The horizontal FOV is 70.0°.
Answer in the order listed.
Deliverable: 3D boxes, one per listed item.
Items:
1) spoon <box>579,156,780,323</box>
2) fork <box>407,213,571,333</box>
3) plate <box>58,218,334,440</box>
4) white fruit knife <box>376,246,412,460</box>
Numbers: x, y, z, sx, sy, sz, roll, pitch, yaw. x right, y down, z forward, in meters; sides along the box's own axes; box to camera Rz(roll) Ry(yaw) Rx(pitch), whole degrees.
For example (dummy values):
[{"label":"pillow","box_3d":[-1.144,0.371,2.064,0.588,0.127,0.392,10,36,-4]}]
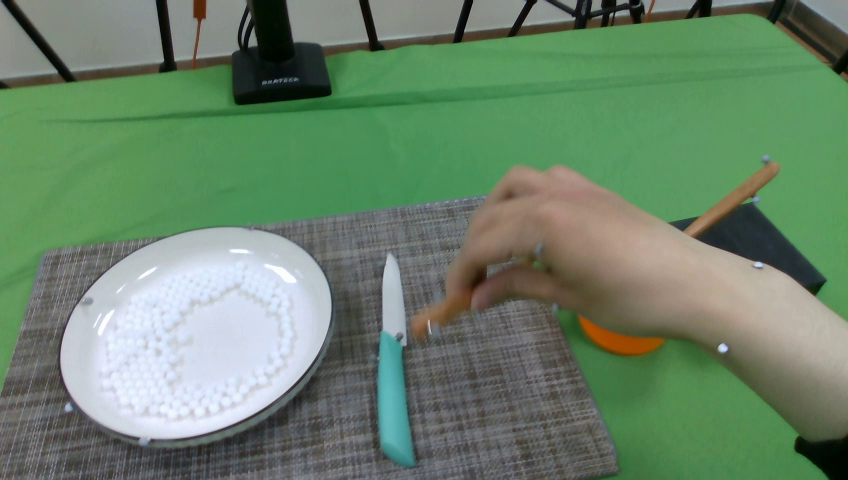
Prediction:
[{"label":"spoon","box_3d":[0.204,0.002,0.491,0.022,0.194,0.041,25,28,-42]},{"label":"fork","box_3d":[0.053,0.017,0.399,0.018,0.028,0.207,10,22,31]},{"label":"plate","box_3d":[-0.176,0.067,0.491,0.209,0.038,0.207,1,47,0]},{"label":"white fruit knife","box_3d":[-0.028,0.080,0.500,0.027,0.016,0.205,21,40,-24]}]
